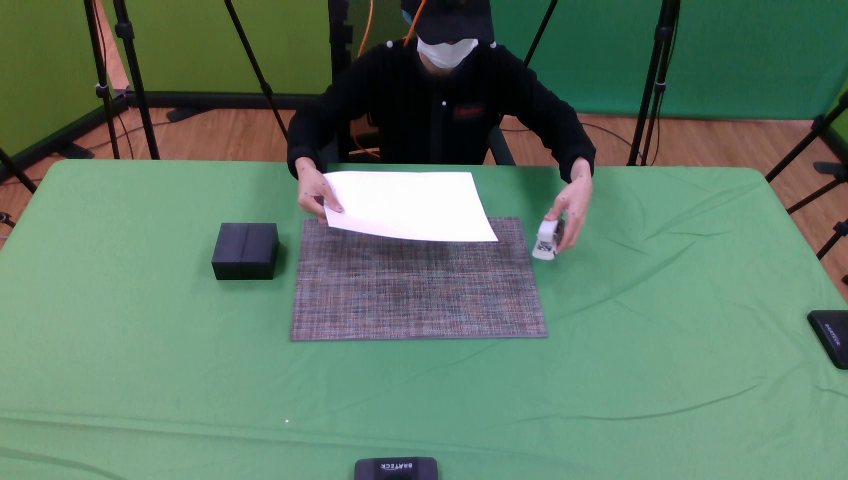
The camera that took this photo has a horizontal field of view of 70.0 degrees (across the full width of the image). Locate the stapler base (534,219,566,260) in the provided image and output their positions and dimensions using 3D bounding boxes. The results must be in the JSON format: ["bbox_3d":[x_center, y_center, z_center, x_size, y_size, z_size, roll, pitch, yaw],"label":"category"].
[{"bbox_3d":[0.241,-0.010,1.152,0.041,0.024,0.130,11,38,17],"label":"stapler base"}]

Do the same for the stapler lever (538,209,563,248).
[{"bbox_3d":[0.239,-0.030,1.139,0.027,0.040,0.117,11,39,18],"label":"stapler lever"}]
